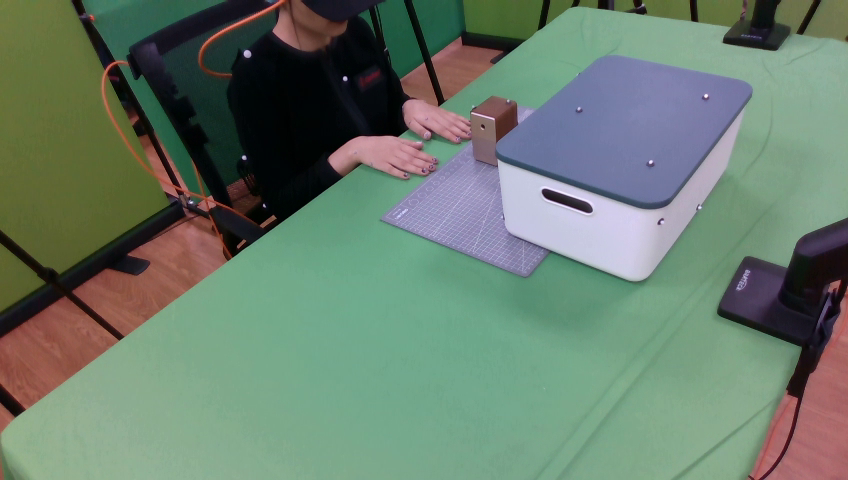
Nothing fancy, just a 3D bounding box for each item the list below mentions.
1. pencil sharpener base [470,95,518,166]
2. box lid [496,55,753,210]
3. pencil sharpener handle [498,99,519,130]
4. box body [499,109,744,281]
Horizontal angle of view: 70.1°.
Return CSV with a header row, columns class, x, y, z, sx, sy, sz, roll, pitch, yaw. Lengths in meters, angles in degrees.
class,x,y,z,sx,sy,sz,roll,pitch,yaw
pencil sharpener base,0.134,-0.205,1.128,0.061,0.107,0.077,23,50,34
box lid,0.308,-0.181,0.911,0.261,0.015,0.372,24,50,31
pencil sharpener handle,0.165,-0.243,1.148,0.035,0.068,0.031,22,49,35
box body,0.315,-0.124,0.958,0.252,0.161,0.365,24,50,32
